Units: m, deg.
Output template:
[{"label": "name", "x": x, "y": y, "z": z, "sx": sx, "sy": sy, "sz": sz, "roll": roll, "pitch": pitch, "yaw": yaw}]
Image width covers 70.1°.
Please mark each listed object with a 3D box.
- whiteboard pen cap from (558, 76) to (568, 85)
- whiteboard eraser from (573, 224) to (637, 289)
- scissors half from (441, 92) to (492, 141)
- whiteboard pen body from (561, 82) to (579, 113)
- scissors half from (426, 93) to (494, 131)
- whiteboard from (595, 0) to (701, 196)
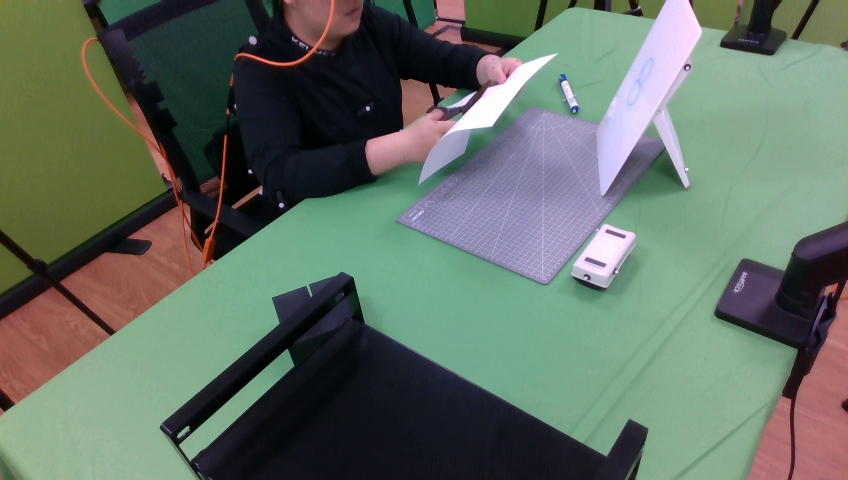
[{"label": "whiteboard pen cap", "x": 0.310, "y": -0.350, "z": 1.341, "sx": 0.018, "sy": 0.018, "sz": 0.033, "roll": -6, "pitch": 41, "yaw": 2}, {"label": "whiteboard eraser", "x": 0.267, "y": 0.025, "z": 0.891, "sx": 0.055, "sy": 0.042, "sz": 0.113, "roll": 19, "pitch": 47, "yaw": 31}, {"label": "scissors half", "x": 0.078, "y": -0.218, "z": 1.072, "sx": 0.040, "sy": 0.174, "sz": 0.013, "roll": 25, "pitch": 64, "yaw": -13}, {"label": "whiteboard pen body", "x": 0.310, "y": -0.311, "z": 1.298, "sx": 0.017, "sy": 0.017, "sz": 0.140, "roll": -6, "pitch": 41, "yaw": 2}, {"label": "scissors half", "x": 0.061, "y": -0.228, "z": 1.065, "sx": 0.174, "sy": 0.040, "sz": 0.013, "roll": -13, "pitch": 46, "yaw": 49}, {"label": "whiteboard", "x": 0.421, "y": -0.227, "z": 1.010, "sx": 0.144, "sy": 0.305, "sz": 0.216, "roll": 18, "pitch": 42, "yaw": -2}]
